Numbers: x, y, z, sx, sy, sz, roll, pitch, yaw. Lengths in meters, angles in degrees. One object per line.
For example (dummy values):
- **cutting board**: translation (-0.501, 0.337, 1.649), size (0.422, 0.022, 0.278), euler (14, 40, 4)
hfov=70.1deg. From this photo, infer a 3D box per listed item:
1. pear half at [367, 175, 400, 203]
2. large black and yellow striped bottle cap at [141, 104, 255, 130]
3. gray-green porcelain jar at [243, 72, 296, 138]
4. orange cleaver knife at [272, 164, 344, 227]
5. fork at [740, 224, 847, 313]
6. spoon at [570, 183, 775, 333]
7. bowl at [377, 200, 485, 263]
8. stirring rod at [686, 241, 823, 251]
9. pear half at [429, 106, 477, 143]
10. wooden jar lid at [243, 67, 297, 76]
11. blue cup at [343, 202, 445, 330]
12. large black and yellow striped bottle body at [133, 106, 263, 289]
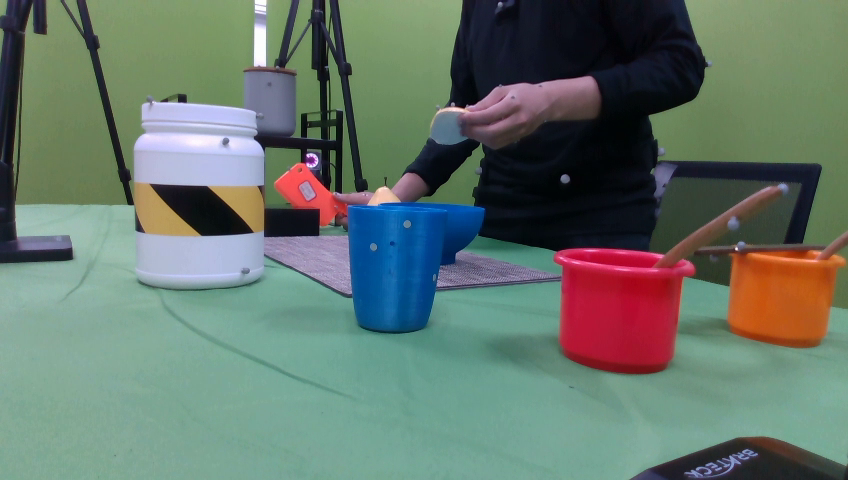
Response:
- **pear half**: translation (-0.064, -0.061, 1.077), size (0.055, 0.110, 0.077), euler (9, 13, 39)
- **large black and yellow striped bottle cap**: translation (-0.241, -0.131, 0.650), size (0.115, 0.019, 0.115), euler (3, 8, 0)
- **gray-green porcelain jar**: translation (-0.322, -0.279, 1.263), size (0.106, 0.126, 0.106), euler (3, 8, 0)
- **orange cleaver knife**: translation (-0.188, -0.065, 1.144), size (0.212, 0.077, 0.012), euler (35, -8, -32)
- **fork**: translation (0.323, 0.013, 0.485), size (0.028, 0.018, 0.207), euler (9, -37, -5)
- **spoon**: translation (0.160, 0.020, 0.413), size (0.042, 0.021, 0.193), euler (0, -36, -24)
- **bowl**: translation (0.008, -0.012, 0.842), size (0.151, 0.077, 0.151), euler (2, 7, 0)
- **stirring rod**: translation (0.289, 0.005, 0.525), size (0.177, 0.006, 0.014), euler (-1, 5, -26)
- **pear half**: translation (0.037, -0.174, 0.872), size (0.070, 0.031, 0.088), euler (-31, -32, 16)
- **wooden jar lid**: translation (-0.319, -0.342, 1.254), size (0.108, 0.020, 0.108), euler (3, 8, 0)
- **blue cup**: translation (-0.027, 0.021, 0.510), size (0.093, 0.100, 0.092), euler (3, 5, 0)
- **large black and yellow striped bottle body**: translation (-0.243, -0.048, 0.659), size (0.131, 0.184, 0.130), euler (2, 7, 0)
